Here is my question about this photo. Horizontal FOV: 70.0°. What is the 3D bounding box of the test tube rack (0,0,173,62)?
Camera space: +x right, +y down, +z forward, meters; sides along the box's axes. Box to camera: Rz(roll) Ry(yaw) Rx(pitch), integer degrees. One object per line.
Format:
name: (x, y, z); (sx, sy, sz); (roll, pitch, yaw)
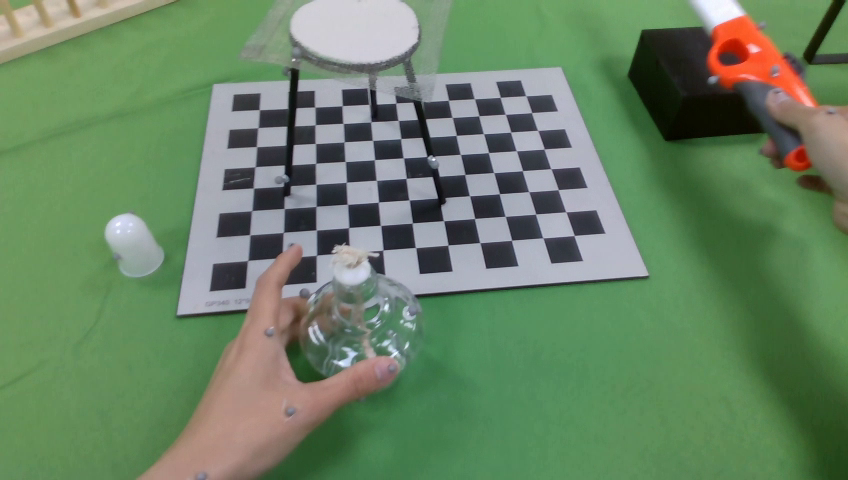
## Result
test tube rack: (-0.360, -0.271, 0.619); (0.242, 0.086, 0.066); (-33, 60, -25)

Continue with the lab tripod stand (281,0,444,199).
lab tripod stand: (-0.044, -0.104, 0.462); (0.148, 0.132, 0.147); (2, 51, -2)

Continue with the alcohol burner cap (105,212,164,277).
alcohol burner cap: (-0.211, 0.001, 0.437); (0.034, 0.048, 0.033); (2, 51, -2)

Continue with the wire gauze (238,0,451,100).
wire gauze: (-0.046, -0.144, 0.407); (0.125, 0.011, 0.120); (10, 51, 4)

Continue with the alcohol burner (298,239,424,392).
alcohol burner: (-0.039, 0.042, 0.363); (0.078, 0.120, 0.077); (0, 51, 1)

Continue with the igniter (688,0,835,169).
igniter: (0.252, -0.168, 0.494); (0.057, 0.025, 0.273); (-19, 57, 12)
